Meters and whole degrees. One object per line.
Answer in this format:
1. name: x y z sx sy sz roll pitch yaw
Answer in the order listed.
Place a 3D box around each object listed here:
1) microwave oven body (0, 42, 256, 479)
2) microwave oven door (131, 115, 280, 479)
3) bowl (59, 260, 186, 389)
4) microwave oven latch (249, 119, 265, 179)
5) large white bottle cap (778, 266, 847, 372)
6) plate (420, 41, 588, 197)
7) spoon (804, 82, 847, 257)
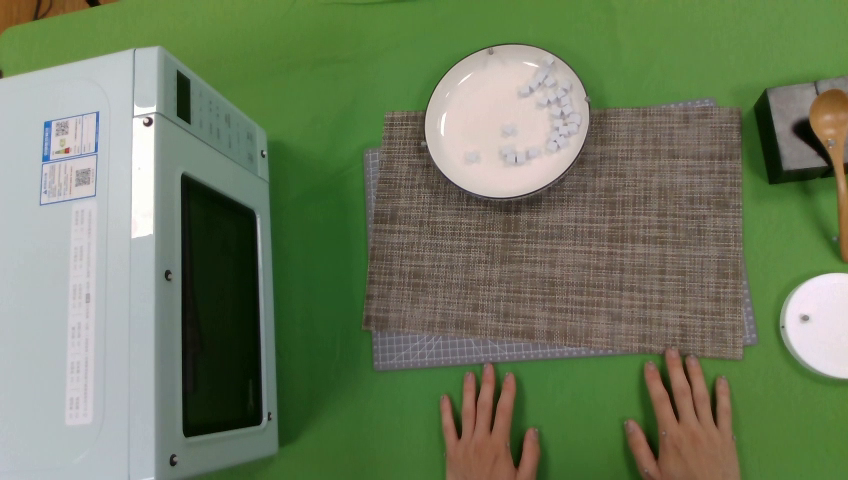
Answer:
1. microwave oven body: -0.384 0.051 0.721 0.325 0.261 0.439 -8 78 10
2. microwave oven door: -0.239 0.070 0.680 0.039 0.245 0.354 -9 77 11
3. bowl: -0.347 0.104 0.735 0.151 0.077 0.150 -2 78 11
4. microwave oven latch: -0.235 -0.122 0.823 0.030 0.029 0.079 -8 78 10
5. large white bottle cap: 0.450 0.086 0.659 0.114 0.018 0.114 -2 79 11
6. plate: 0.100 -0.150 0.769 0.209 0.038 0.208 -3 77 12
7. spoon: 0.443 -0.072 0.653 0.041 0.021 0.194 -13 99 8
